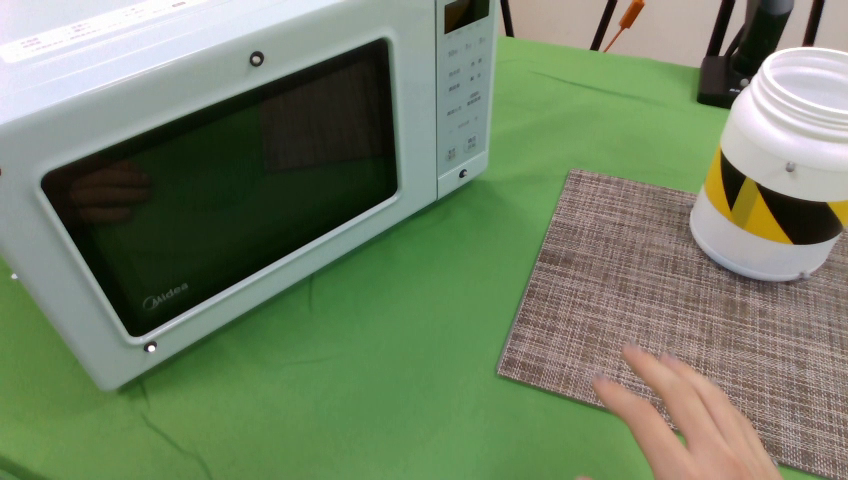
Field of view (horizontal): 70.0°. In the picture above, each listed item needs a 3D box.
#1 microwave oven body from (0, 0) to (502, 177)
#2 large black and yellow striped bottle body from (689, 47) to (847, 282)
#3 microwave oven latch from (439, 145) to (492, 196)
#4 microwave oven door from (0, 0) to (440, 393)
[{"bbox_3d":[-0.195,-0.142,0.587,0.442,0.262,0.322,-32,53,-27],"label":"microwave oven body"},{"bbox_3d":[0.334,-0.066,0.553,0.131,0.185,0.129,0,45,1],"label":"large black and yellow striped bottle body"},{"bbox_3d":[0.039,-0.080,0.658,0.079,0.030,0.030,-31,52,-26],"label":"microwave oven latch"},{"bbox_3d":[-0.131,-0.051,0.486,0.356,0.246,0.039,-32,52,-27],"label":"microwave oven door"}]
